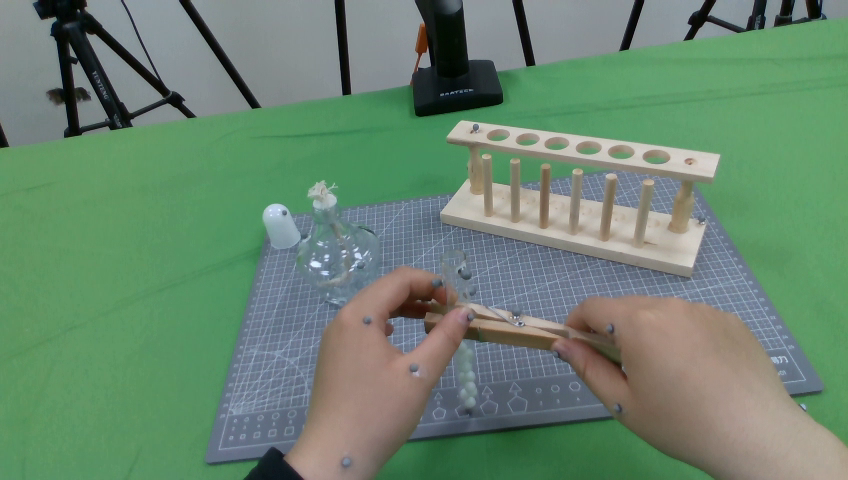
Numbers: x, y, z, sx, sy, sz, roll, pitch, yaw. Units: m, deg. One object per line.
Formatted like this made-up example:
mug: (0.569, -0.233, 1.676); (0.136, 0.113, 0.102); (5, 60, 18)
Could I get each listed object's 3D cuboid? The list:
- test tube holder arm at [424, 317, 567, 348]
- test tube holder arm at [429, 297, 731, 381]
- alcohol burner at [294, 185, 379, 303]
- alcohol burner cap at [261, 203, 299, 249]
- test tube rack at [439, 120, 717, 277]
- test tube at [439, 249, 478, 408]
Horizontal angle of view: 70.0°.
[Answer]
test tube holder arm: (0.044, 0.057, 0.375); (0.087, 0.015, 0.010); (2, 50, 12)
test tube holder arm: (0.088, 0.058, 0.366); (0.177, 0.015, 0.013); (9, 53, 18)
alcohol burner: (-0.081, -0.001, 0.538); (0.078, 0.120, 0.077); (-5, 41, 5)
alcohol burner cap: (-0.151, -0.018, 0.629); (0.034, 0.048, 0.033); (-5, 41, 5)
test tube rack: (0.131, -0.045, 0.565); (0.241, 0.086, 0.066); (14, 46, 26)
test tube: (0.024, 0.064, 0.397); (0.017, 0.152, 0.017); (-5, 42, 5)
